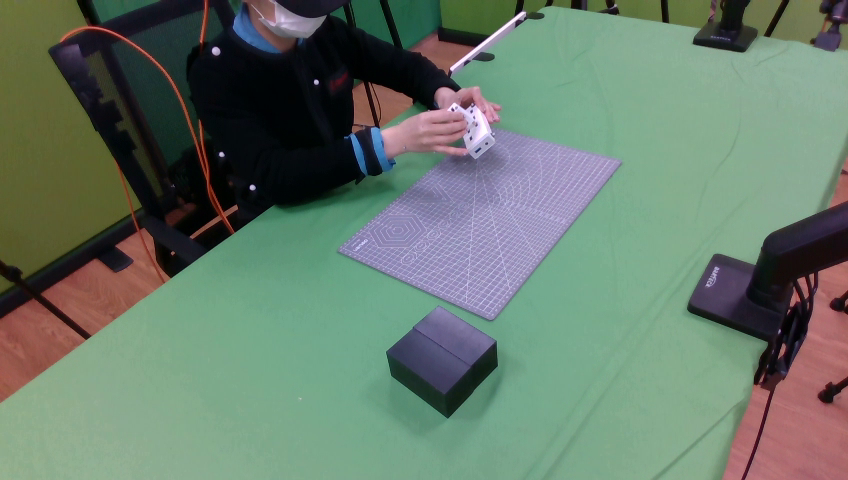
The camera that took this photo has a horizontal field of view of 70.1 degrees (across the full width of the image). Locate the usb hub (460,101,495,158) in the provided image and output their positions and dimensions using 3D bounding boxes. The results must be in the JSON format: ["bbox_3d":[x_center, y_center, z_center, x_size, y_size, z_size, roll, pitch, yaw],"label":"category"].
[{"bbox_3d":[0.093,-0.200,1.088,0.049,0.025,0.124,-37,35,22],"label":"usb hub"}]

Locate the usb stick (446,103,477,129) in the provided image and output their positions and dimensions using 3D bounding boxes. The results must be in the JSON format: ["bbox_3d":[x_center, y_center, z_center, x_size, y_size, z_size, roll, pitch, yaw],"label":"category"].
[{"bbox_3d":[0.068,-0.213,1.052,0.060,0.027,0.021,21,28,-41],"label":"usb stick"}]
